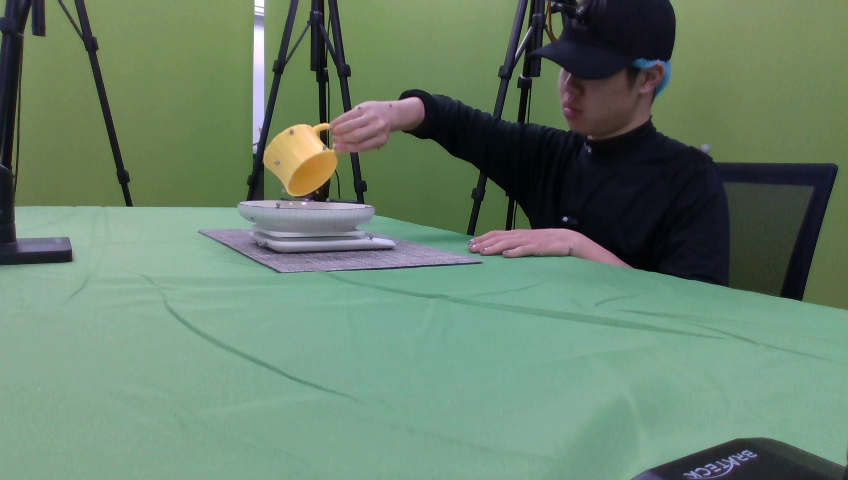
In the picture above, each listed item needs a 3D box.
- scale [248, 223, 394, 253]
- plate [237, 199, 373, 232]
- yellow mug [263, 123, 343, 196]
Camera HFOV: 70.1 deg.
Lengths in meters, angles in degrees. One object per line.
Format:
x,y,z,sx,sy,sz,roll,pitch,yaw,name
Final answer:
-0.162,-0.006,0.954,0.202,0.031,0.148,-2,8,-32,scale
-0.183,-0.039,0.941,0.209,0.038,0.209,3,7,0,plate
-0.188,-0.139,0.983,0.064,0.131,0.100,48,-3,15,yellow mug
